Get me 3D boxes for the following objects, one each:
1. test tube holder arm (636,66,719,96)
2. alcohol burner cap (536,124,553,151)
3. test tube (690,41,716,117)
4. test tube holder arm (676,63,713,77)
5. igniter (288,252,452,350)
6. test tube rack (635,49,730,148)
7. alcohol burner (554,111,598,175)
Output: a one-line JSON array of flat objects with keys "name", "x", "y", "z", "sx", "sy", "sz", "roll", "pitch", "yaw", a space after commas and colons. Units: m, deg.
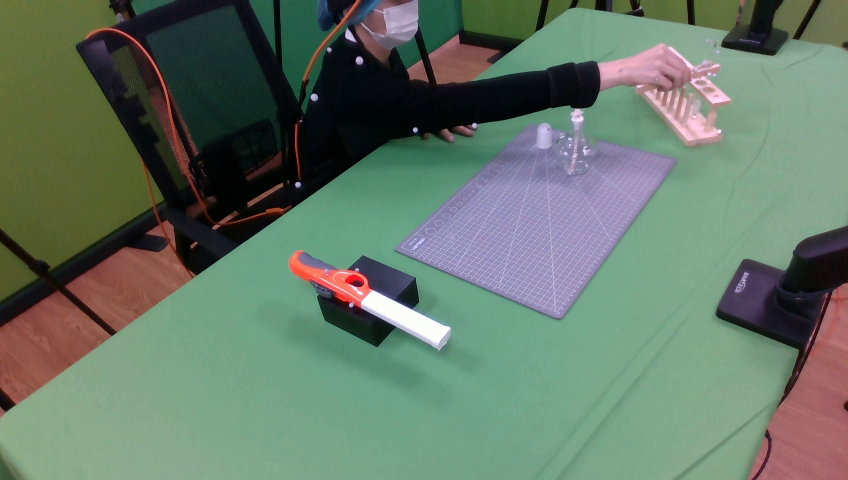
[{"name": "test tube holder arm", "x": 0.453, "y": -0.285, "z": 1.080, "sx": 0.179, "sy": 0.015, "sz": 0.013, "roll": -19, "pitch": 40, "yaw": -17}, {"name": "alcohol burner cap", "x": 0.231, "y": -0.199, "z": 1.158, "sx": 0.034, "sy": 0.048, "sz": 0.033, "roll": -5, "pitch": 41, "yaw": 5}, {"name": "test tube", "x": 0.514, "y": -0.294, "z": 1.117, "sx": 0.017, "sy": 0.151, "sz": 0.017, "roll": -3, "pitch": 43, "yaw": 4}, {"name": "test tube holder arm", "x": 0.491, "y": -0.303, "z": 1.098, "sx": 0.088, "sy": 0.015, "sz": 0.010, "roll": -25, "pitch": 42, "yaw": -23}, {"name": "igniter", "x": -0.084, "y": 0.077, "z": 0.821, "sx": 0.274, "sy": 0.025, "sz": 0.057, "roll": 23, "pitch": 48, "yaw": 27}, {"name": "test tube rack", "x": 0.497, "y": -0.283, "z": 1.185, "sx": 0.067, "sy": 0.085, "sz": 0.240, "roll": -10, "pitch": 40, "yaw": -2}, {"name": "alcohol burner", "x": 0.270, "y": -0.175, "z": 1.066, "sx": 0.078, "sy": 0.119, "sz": 0.077, "roll": -4, "pitch": 42, "yaw": 4}]
